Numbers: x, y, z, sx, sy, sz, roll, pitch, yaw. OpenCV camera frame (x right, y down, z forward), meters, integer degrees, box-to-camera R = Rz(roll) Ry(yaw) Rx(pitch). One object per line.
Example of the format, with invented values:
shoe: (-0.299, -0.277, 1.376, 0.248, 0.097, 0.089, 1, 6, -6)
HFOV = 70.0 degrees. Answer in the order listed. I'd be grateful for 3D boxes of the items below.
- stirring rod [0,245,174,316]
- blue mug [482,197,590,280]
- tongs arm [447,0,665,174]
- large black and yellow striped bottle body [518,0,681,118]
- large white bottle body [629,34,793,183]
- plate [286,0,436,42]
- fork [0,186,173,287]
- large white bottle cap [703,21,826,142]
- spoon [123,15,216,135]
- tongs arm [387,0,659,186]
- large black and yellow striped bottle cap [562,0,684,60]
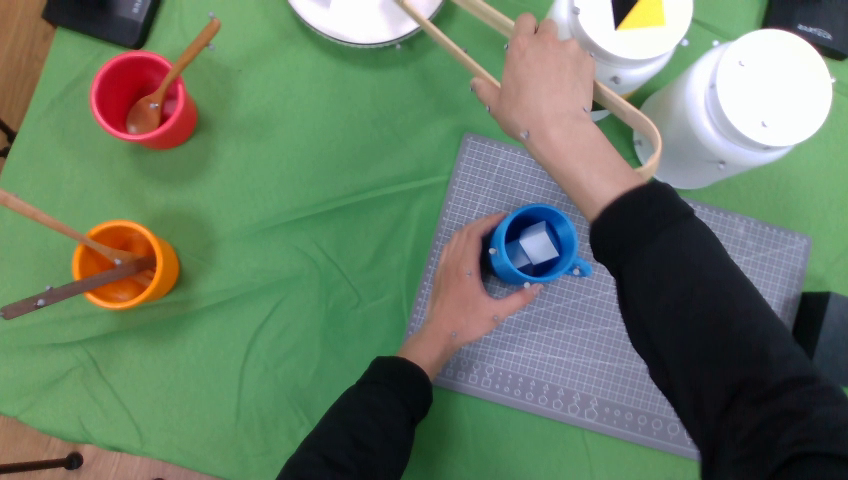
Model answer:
stirring rod: (-0.338, 0.038, 0.620, 0.176, 0.006, 0.014, -27, 91, -48)
blue mug: (0.127, 0.008, 0.670, 0.116, 0.106, 0.082, 24, 84, -2)
tongs arm: (0.081, -0.191, 0.584, 0.028, 0.028, 0.384, -40, 65, -10)
large black and yellow striped bottle body: (0.183, -0.219, 0.655, 0.131, 0.184, 0.130, 0, 85, -4)
large white bottle body: (0.318, -0.142, 0.658, 0.131, 0.185, 0.130, 0, 85, -3)
plate: (-0.075, -0.332, 0.718, 0.208, 0.039, 0.207, 0, 86, -4)
fork: (-0.350, -0.005, 0.617, 0.209, 0.018, 0.028, 40, 80, -43)
large white bottle cap: (0.323, -0.150, 0.574, 0.115, 0.018, 0.114, 0, 85, -5)
spoon: (-0.271, -0.171, 0.639, 0.193, 0.022, 0.041, -32, 83, 38)
tongs arm: (0.063, -0.174, 0.581, 0.051, 0.027, 0.381, -38, 65, -5)
large black and yellow striped bottle cap: (0.189, -0.229, 0.572, 0.115, 0.019, 0.115, 0, 87, -5)
